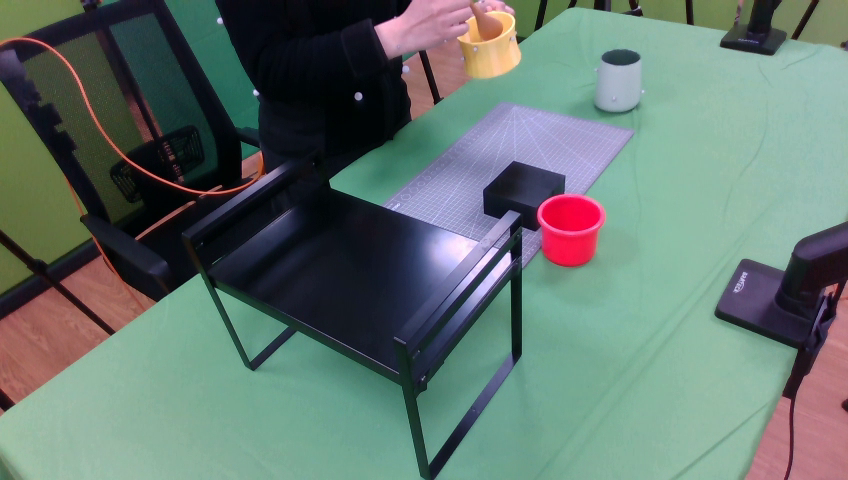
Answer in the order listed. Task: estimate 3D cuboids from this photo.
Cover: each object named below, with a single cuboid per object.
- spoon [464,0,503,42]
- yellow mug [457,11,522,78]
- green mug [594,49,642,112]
[{"bbox_3d":[0.071,-0.363,0.934,0.041,0.195,0.021,-33,54,18],"label":"spoon"},{"bbox_3d":[0.115,-0.341,1.028,0.099,0.064,0.130,0,47,22],"label":"yellow mug"},{"bbox_3d":[0.397,-0.333,1.240,0.092,0.105,0.125,-3,41,7],"label":"green mug"}]
